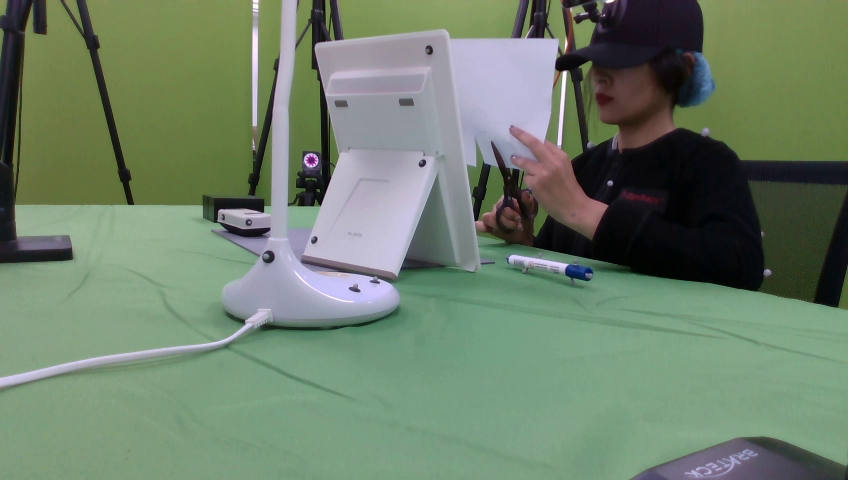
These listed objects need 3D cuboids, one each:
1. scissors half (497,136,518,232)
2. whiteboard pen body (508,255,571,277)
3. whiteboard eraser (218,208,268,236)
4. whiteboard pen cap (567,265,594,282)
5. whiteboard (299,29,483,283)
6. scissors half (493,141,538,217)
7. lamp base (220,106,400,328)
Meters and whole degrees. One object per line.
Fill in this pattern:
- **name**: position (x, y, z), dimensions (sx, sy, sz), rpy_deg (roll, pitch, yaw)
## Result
- **scissors half**: position (0.136, -0.090, 1.010), dimensions (0.040, 0.175, 0.013), rpy_deg (-24, 31, -30)
- **whiteboard pen body**: position (0.155, 0.034, 0.772), dimensions (0.017, 0.017, 0.140), rpy_deg (-2, 7, -31)
- **whiteboard eraser**: position (-0.309, -0.031, 1.044), dimensions (0.056, 0.042, 0.112), rpy_deg (-2, 9, -40)
- **whiteboard pen cap**: position (0.185, 0.040, 0.722), dimensions (0.018, 0.018, 0.033), rpy_deg (-3, 7, -33)
- **whiteboard**: position (-0.074, -0.082, 0.742), dimensions (0.216, 0.305, 0.144), rpy_deg (9, 29, 38)
- **scissors half**: position (0.153, -0.103, 1.018), dimensions (0.012, 0.040, 0.176), rpy_deg (33, -14, 50)
- **lamp base**: position (-0.101, -0.023, 0.531), dimensions (0.160, 0.180, 0.179), rpy_deg (4, 10, 10)
